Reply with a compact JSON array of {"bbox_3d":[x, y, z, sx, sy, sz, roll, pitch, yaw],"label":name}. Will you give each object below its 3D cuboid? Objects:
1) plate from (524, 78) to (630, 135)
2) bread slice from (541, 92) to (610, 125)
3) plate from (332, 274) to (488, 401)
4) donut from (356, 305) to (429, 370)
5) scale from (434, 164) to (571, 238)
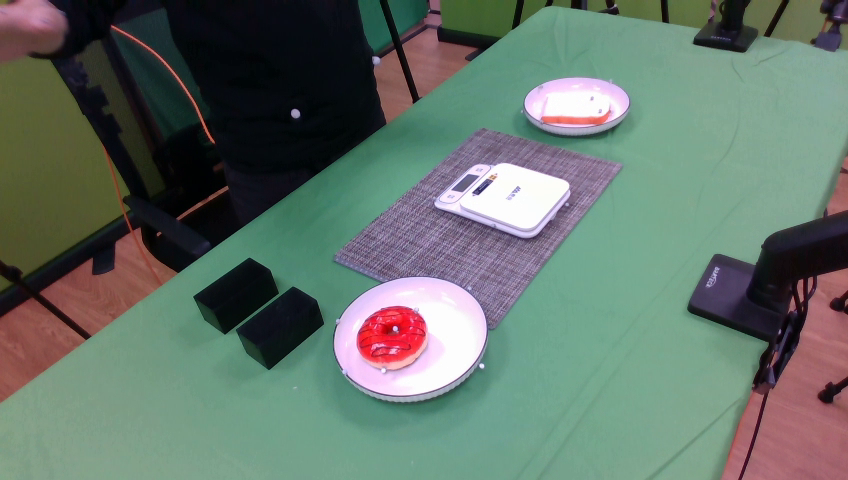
[{"bbox_3d":[0.307,-0.265,1.223,0.209,0.038,0.208,-4,40,4],"label":"plate"},{"bbox_3d":[0.310,-0.268,1.227,0.131,0.019,0.105,7,43,14],"label":"bread slice"},{"bbox_3d":[-0.017,0.130,0.808,0.207,0.039,0.206,-4,41,4],"label":"plate"},{"bbox_3d":[-0.041,0.127,0.798,0.099,0.048,0.098,-7,39,7],"label":"donut"},{"bbox_3d":[0.132,-0.075,1.025,0.199,0.032,0.149,22,48,30],"label":"scale"}]
